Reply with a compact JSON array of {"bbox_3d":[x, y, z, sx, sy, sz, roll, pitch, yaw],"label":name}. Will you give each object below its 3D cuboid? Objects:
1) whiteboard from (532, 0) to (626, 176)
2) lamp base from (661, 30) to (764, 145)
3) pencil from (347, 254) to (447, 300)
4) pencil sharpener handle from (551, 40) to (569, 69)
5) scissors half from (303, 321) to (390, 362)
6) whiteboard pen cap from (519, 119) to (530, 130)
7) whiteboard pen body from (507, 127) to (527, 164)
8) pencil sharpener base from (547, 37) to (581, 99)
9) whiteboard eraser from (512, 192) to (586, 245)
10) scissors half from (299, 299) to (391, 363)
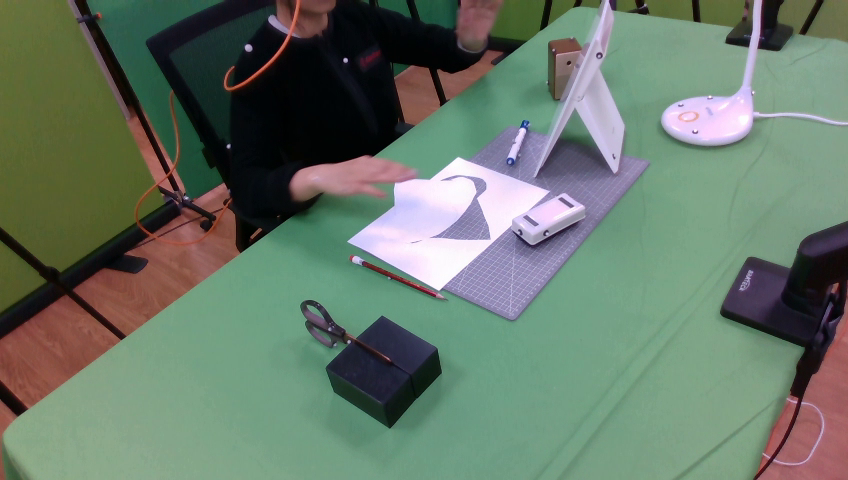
[{"bbox_3d":[0.320,-0.258,1.050,0.144,0.306,0.217,21,45,5],"label":"whiteboard"},{"bbox_3d":[0.535,-0.287,1.096,0.179,0.181,0.159,-10,40,-4],"label":"lamp base"},{"bbox_3d":[-0.044,0.057,0.933,0.192,0.012,0.012,21,49,29],"label":"pencil"},{"bbox_3d":[0.291,-0.409,1.321,0.036,0.068,0.030,2,40,-6],"label":"pencil sharpener handle"},{"bbox_3d":[-0.105,0.138,0.803,0.174,0.040,0.013,8,28,44],"label":"scissors half"},{"bbox_3d":[0.200,-0.227,1.205,0.018,0.018,0.033,7,42,18],"label":"whiteboard pen cap"},{"bbox_3d":[0.181,-0.189,1.163,0.017,0.017,0.140,8,42,19],"label":"whiteboard pen body"},{"bbox_3d":[0.299,-0.368,1.290,0.061,0.107,0.076,-8,40,2],"label":"pencil sharpener base"},{"bbox_3d":[0.199,-0.032,0.962,0.113,0.042,0.055,-27,43,-20],"label":"whiteboard eraser"},{"bbox_3d":[-0.107,0.120,0.794,0.174,0.040,0.013,26,45,33],"label":"scissors half"}]
